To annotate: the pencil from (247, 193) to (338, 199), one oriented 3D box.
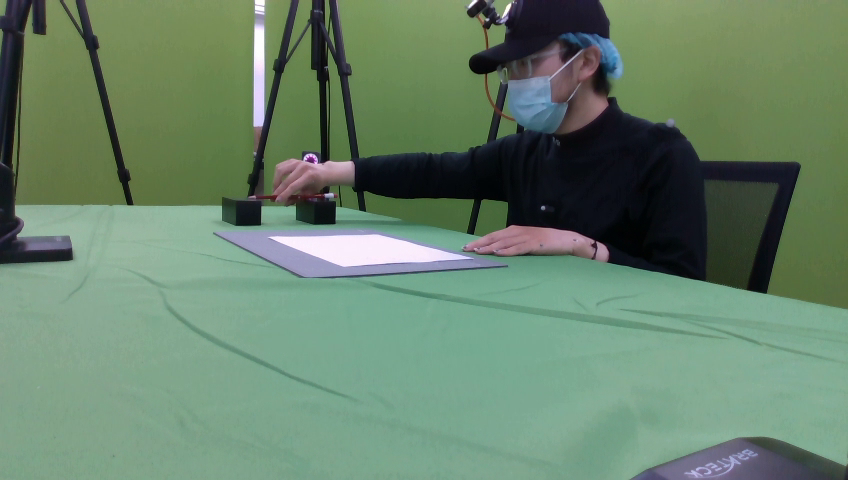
[{"bbox_3d":[-0.278,-0.093,1.289,0.195,0.012,0.012,-3,10,-27],"label":"pencil"}]
